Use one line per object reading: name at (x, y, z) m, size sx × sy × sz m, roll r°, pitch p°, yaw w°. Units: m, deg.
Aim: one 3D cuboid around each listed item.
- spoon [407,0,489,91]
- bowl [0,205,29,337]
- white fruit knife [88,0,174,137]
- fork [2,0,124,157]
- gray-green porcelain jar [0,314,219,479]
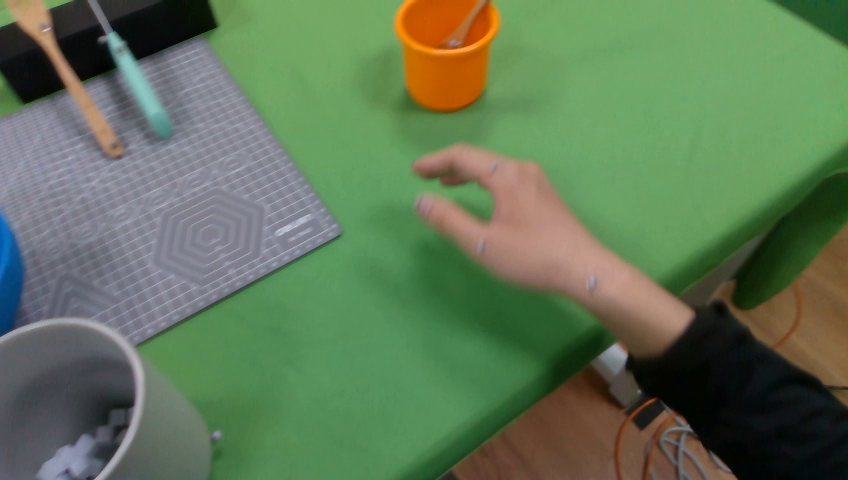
spoon at (0.052, -0.208, 0.536) m, size 0.022 × 0.194 × 0.041 m, roll 8°, pitch 43°, yaw -49°
bowl at (-0.342, 0.043, 0.421) m, size 0.151 × 0.077 × 0.150 m, roll 0°, pitch 57°, yaw 1°
white fruit knife at (-0.287, -0.181, 0.565) m, size 0.016 × 0.027 × 0.206 m, roll -31°, pitch 75°, yaw -18°
fork at (-0.329, -0.159, 0.550) m, size 0.028 × 0.019 × 0.206 m, roll -32°, pitch 81°, yaw -23°
gray-green porcelain jar at (-0.183, 0.116, 0.346) m, size 0.106 × 0.127 × 0.105 m, roll -1°, pitch 57°, yaw 1°
